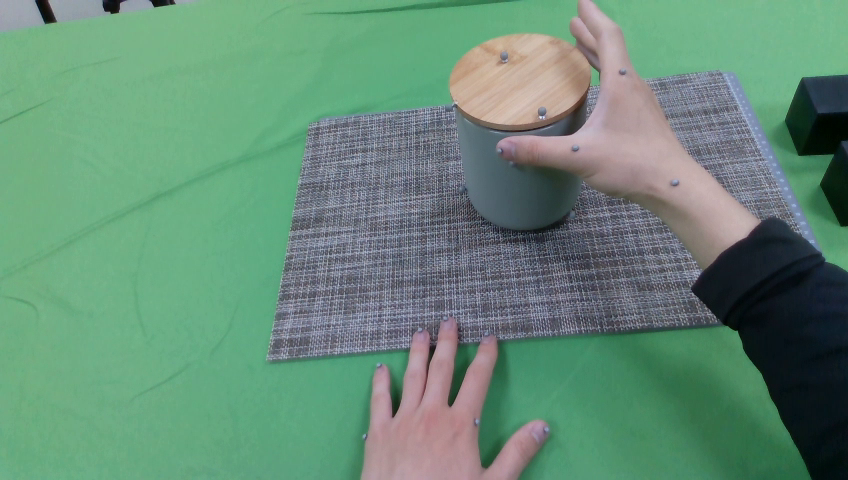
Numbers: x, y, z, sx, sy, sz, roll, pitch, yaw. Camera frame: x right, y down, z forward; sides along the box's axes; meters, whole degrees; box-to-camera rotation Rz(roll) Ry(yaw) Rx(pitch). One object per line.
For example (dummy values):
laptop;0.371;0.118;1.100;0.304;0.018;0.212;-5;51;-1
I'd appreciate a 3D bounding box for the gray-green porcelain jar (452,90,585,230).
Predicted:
gray-green porcelain jar;0.082;-0.080;0.522;0.106;0.128;0.105;-5;51;7

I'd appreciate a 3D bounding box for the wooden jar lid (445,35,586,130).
wooden jar lid;0.071;-0.120;0.472;0.108;0.021;0.107;-5;54;7
